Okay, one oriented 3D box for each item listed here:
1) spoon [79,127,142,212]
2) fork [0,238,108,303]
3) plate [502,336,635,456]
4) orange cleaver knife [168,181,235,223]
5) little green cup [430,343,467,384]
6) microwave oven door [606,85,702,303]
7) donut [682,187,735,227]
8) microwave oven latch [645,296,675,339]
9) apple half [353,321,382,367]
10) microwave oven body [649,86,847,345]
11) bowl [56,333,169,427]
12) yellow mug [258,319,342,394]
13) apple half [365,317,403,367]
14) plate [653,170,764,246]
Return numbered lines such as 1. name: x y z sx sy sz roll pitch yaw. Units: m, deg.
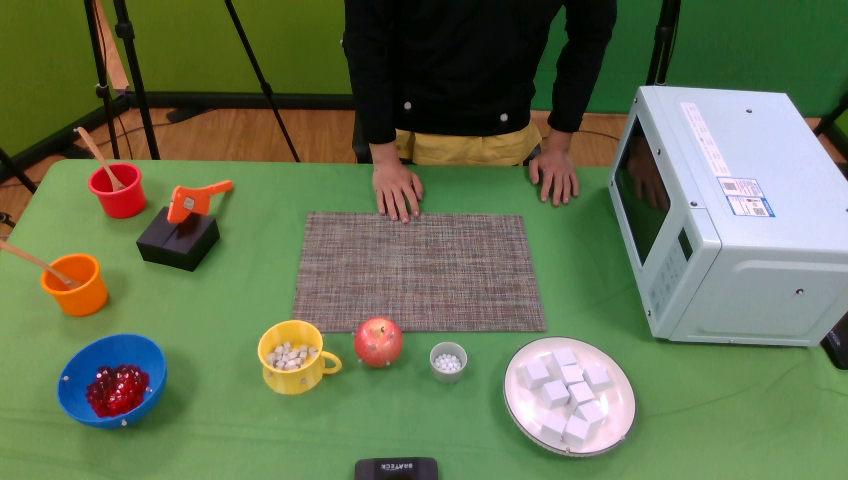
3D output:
1. spoon: -0.624 -0.139 1.203 0.041 0.021 0.194 -33 100 -26
2. fork: -0.633 0.048 1.017 0.208 0.018 0.028 40 41 -27
3. plate: 0.225 0.248 0.963 0.208 0.039 0.206 2 46 -2
4. orange cleaver knife: -0.436 -0.078 1.196 0.012 0.077 0.211 16 15 10
5. little green cup: 0.039 0.203 0.994 0.061 0.039 0.061 2 46 -2
6. microwave oven door: 0.423 -0.094 1.140 0.039 0.245 0.353 2 46 -1
7. donut: 0.554 -0.066 1.183 0.099 0.048 0.098 3 44 -3
8. microwave oven latch: 0.412 0.134 1.061 0.030 0.029 0.078 3 45 0
9. apple half: -0.098 0.177 0.984 0.033 0.081 0.081 -17 49 -25
10. microwave oven body: 0.567 -0.053 1.118 0.326 0.261 0.439 2 45 -1
11. bowl: -0.456 0.223 0.911 0.151 0.077 0.150 3 46 -2
12. yellow mug: -0.195 0.189 0.972 0.131 0.064 0.099 9 46 4
13. apple half: -0.063 0.165 1.000 0.053 0.075 0.080 -16 45 -24
14. plate: 0.556 -0.059 1.196 0.209 0.038 0.208 2 45 -1
